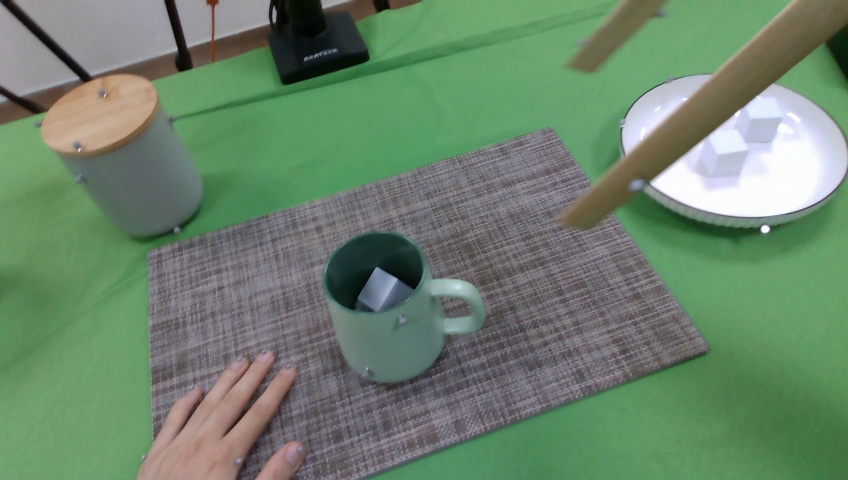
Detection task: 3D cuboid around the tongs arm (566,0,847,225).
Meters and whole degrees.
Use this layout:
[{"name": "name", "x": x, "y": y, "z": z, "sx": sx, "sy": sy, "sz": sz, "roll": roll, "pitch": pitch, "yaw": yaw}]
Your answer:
[{"name": "tongs arm", "x": 0.158, "y": -0.102, "z": 0.242, "sx": 0.028, "sy": 0.389, "sz": 0.028, "roll": 18, "pitch": 59, "yaw": -8}]

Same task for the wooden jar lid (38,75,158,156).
[{"name": "wooden jar lid", "x": -0.303, "y": -0.114, "z": 0.570, "sx": 0.108, "sy": 0.021, "sz": 0.107, "roll": -3, "pitch": 54, "yaw": 4}]

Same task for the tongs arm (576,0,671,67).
[{"name": "tongs arm", "x": 0.168, "y": -0.167, "z": 0.268, "sx": 0.026, "sy": 0.385, "sz": 0.050, "roll": 15, "pitch": 70, "yaw": -10}]

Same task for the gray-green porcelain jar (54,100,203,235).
[{"name": "gray-green porcelain jar", "x": -0.295, "y": -0.075, "z": 0.618, "sx": 0.106, "sy": 0.128, "sz": 0.105, "roll": -4, "pitch": 51, "yaw": 5}]

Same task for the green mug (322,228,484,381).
[{"name": "green mug", "x": -0.015, "y": 0.053, "z": 0.485, "sx": 0.125, "sy": 0.106, "sz": 0.091, "roll": 0, "pitch": 51, "yaw": 8}]

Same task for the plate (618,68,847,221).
[{"name": "plate", "x": 0.299, "y": -0.095, "z": 0.604, "sx": 0.207, "sy": 0.039, "sz": 0.205, "roll": -4, "pitch": 51, "yaw": 5}]
